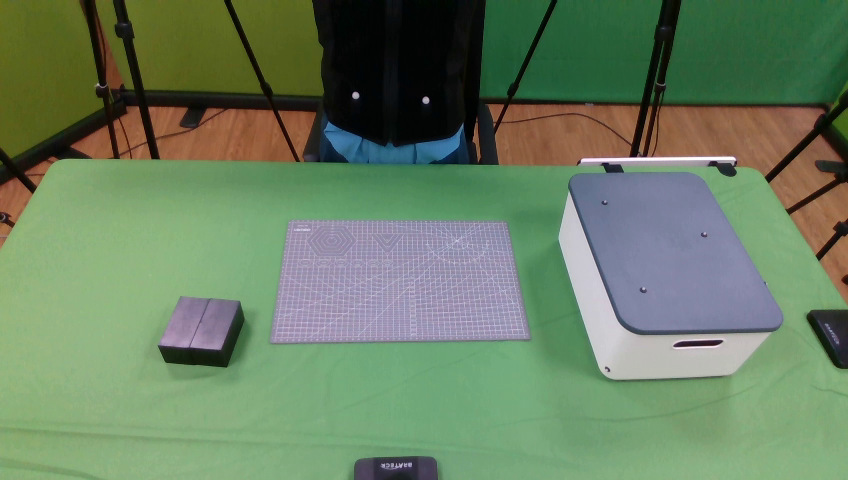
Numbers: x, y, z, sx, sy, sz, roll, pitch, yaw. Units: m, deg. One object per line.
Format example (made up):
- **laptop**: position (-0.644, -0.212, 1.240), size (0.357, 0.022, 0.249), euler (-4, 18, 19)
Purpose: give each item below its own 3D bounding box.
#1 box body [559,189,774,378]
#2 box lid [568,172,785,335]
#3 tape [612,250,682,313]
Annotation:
- **box body**: position (0.405, 0.057, 1.074), size (0.254, 0.161, 0.361), euler (-2, 46, -5)
- **box lid**: position (0.407, 0.007, 1.019), size (0.263, 0.015, 0.369), euler (-1, 46, -5)
- **tape**: position (0.412, 0.076, 1.123), size (0.117, 0.053, 0.116), euler (4, 48, -4)
